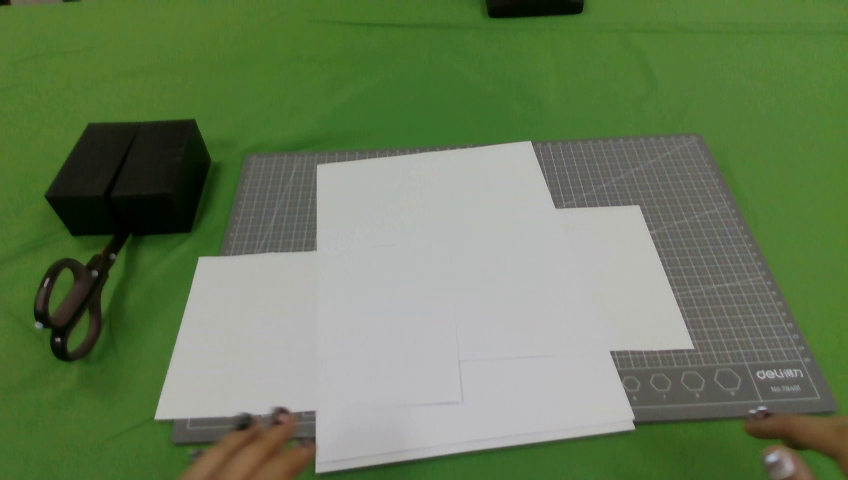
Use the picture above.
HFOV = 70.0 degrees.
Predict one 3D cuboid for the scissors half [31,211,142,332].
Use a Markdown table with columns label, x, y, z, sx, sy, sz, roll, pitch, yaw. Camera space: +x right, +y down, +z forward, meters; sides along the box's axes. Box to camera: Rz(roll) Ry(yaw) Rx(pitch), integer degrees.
| label | x | y | z | sx | sy | sz | roll | pitch | yaw |
| --- | --- | --- | --- | --- | --- | --- | --- | --- | --- |
| scissors half | -0.257 | 0.014 | 0.478 | 0.013 | 0.040 | 0.174 | -2 | 25 | -1 |

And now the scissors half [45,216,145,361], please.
| label | x | y | z | sx | sy | sz | roll | pitch | yaw |
| --- | --- | --- | --- | --- | --- | --- | --- | --- | --- |
| scissors half | -0.256 | 0.030 | 0.489 | 0.013 | 0.040 | 0.173 | -6 | 38 | 3 |
